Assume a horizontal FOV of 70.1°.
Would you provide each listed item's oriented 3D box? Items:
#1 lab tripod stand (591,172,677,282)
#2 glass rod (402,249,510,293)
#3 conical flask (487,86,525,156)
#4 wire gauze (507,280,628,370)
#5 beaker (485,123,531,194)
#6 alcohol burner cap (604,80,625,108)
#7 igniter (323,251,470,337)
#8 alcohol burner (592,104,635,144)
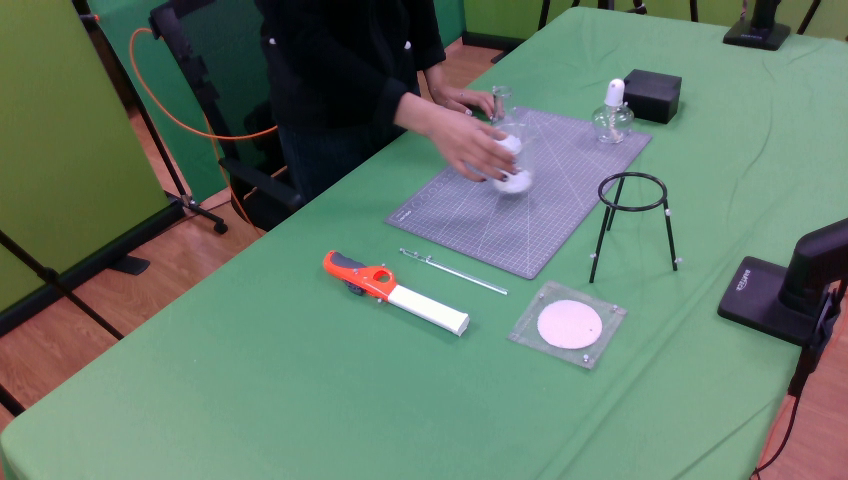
[{"bbox_3d":[0.292,-0.022,0.867,0.148,0.132,0.147,-7,39,6],"label":"lab tripod stand"},{"bbox_3d":[0.045,0.046,0.931,0.198,0.008,0.008,20,49,31],"label":"glass rod"},{"bbox_3d":[0.152,-0.226,1.140,0.075,0.122,0.075,-5,40,5],"label":"conical flask"},{"bbox_3d":[0.196,0.114,0.823,0.120,0.011,0.125,20,50,31],"label":"wire gauze"},{"bbox_3d":[0.142,-0.133,1.012,0.074,0.101,0.083,-5,39,4],"label":"beaker"},{"bbox_3d":[0.350,-0.269,1.102,0.034,0.048,0.033,-1,47,2],"label":"alcohol burner cap"},{"bbox_3d":[-0.052,0.075,0.901,0.274,0.025,0.057,22,60,32],"label":"igniter"},{"bbox_3d":[0.353,-0.242,1.126,0.078,0.119,0.077,-5,38,5],"label":"alcohol burner"}]
